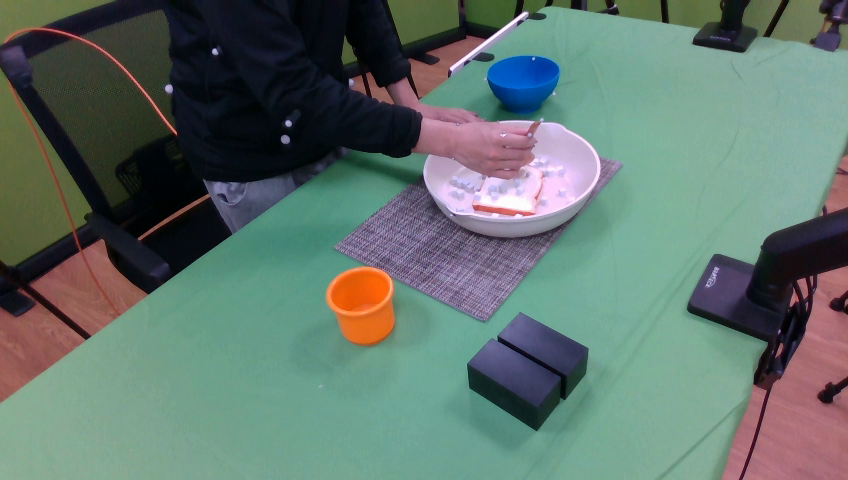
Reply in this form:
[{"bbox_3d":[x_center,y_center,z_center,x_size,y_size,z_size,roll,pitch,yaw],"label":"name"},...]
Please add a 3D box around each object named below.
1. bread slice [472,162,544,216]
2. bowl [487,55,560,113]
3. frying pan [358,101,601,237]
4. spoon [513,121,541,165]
[{"bbox_3d":[0.149,-0.089,1.042,0.106,0.018,0.134,8,46,15],"label":"bread slice"},{"bbox_3d":[0.208,-0.319,1.266,0.151,0.077,0.150,-4,41,4],"label":"bowl"},{"bbox_3d":[0.067,-0.153,1.067,0.484,0.103,0.308,32,52,26],"label":"frying pan"},{"bbox_3d":[0.168,-0.155,0.974,0.041,0.194,0.021,-20,76,0],"label":"spoon"}]
